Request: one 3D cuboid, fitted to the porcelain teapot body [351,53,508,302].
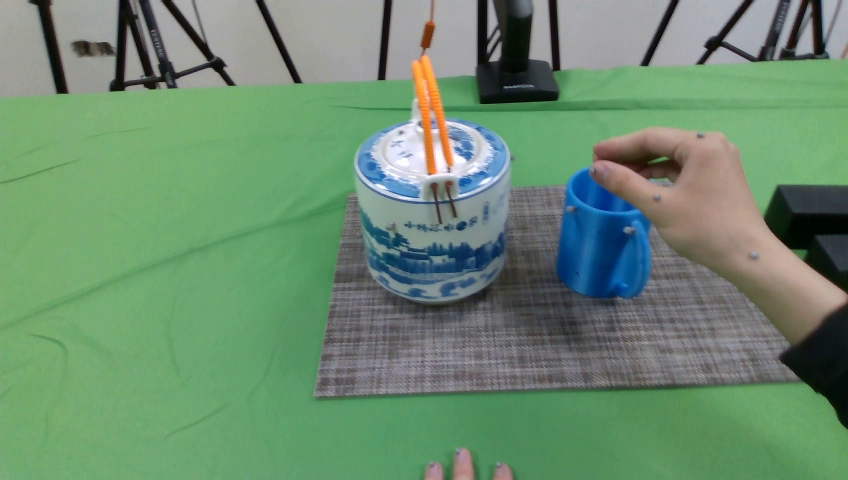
[{"bbox_3d":[0.002,-0.077,0.591,0.145,0.227,0.203,-7,41,-4],"label":"porcelain teapot body"}]

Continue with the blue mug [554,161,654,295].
[{"bbox_3d":[0.179,-0.002,0.583,0.082,0.107,0.115,-14,42,-11],"label":"blue mug"}]

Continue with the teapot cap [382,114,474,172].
[{"bbox_3d":[0.003,-0.090,0.544,0.085,0.044,0.084,0,39,0],"label":"teapot cap"}]
